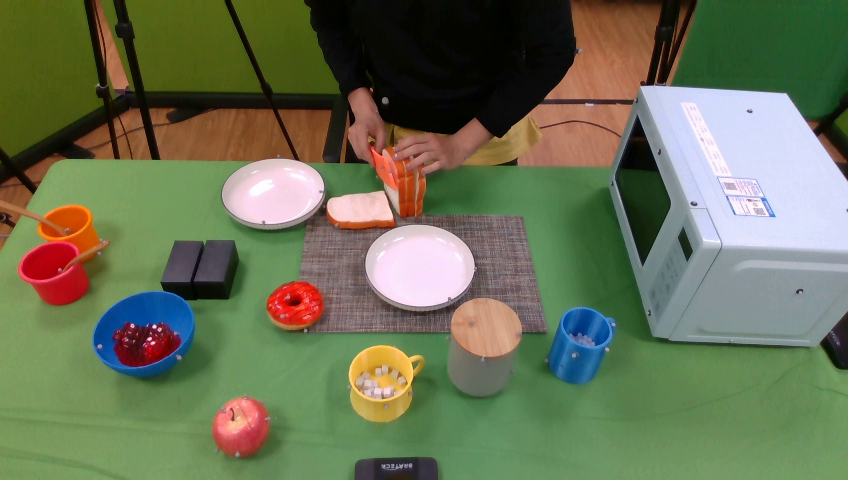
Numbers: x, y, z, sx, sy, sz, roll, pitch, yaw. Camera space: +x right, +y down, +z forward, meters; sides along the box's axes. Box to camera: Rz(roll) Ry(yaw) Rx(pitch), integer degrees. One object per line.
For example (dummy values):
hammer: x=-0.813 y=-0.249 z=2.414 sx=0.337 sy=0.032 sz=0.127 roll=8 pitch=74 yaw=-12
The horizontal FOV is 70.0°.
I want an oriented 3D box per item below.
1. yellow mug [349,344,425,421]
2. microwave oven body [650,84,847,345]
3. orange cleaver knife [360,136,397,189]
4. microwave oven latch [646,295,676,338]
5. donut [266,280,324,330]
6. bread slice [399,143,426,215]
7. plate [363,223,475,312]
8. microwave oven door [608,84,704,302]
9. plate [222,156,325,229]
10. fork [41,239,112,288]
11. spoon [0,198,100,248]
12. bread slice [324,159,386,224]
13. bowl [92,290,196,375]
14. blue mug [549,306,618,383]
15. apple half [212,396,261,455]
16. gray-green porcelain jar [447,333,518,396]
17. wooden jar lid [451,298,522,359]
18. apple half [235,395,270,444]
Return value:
yellow mug: x=-0.054 y=0.217 z=0.954 sx=0.131 sy=0.064 sz=0.099 roll=-24 pitch=52 yaw=-25
microwave oven body: x=0.569 y=-0.054 z=1.116 sx=0.326 sy=0.261 sz=0.439 roll=2 pitch=46 yaw=-1
orange cleaver knife: x=-0.095 y=-0.163 z=1.251 sx=0.012 sy=0.077 sz=0.210 roll=-22 pitch=31 yaw=-11
microwave oven latch: x=0.413 y=0.133 z=1.060 sx=0.030 sy=0.029 sz=0.078 roll=4 pitch=46 yaw=1
donut: x=-0.223 y=0.112 z=1.051 sx=0.099 sy=0.048 sz=0.098 roll=2 pitch=46 yaw=-2
bread slice: x=-0.023 y=-0.131 z=1.242 sx=0.019 sy=0.132 sz=0.104 roll=-13 pitch=48 yaw=-20
plate: x=-0.009 y=0.054 z=1.126 sx=0.208 sy=0.039 sz=0.206 roll=2 pitch=46 yaw=-2
microwave oven door: x=0.424 y=-0.096 z=1.138 sx=0.039 sy=0.245 sz=0.353 roll=3 pitch=46 yaw=-1
plate: x=-0.308 y=-0.095 z=1.251 sx=0.209 sy=0.038 sz=0.208 roll=2 pitch=46 yaw=-2
fork: x=-0.591 y=0.040 z=1.028 sx=0.207 sy=0.019 sz=0.028 roll=-27 pitch=36 yaw=29
spoon: x=-0.684 y=-0.035 z=1.092 sx=0.021 sy=0.195 sz=0.041 roll=-34 pitch=41 yaw=26
bread slice: x=-0.142 y=-0.095 z=1.209 sx=0.134 sy=0.018 sz=0.106 roll=-30 pitch=49 yaw=17
bowl: x=-0.436 y=0.161 z=0.971 sx=0.151 sy=0.077 sz=0.150 roll=2 pitch=46 yaw=-2
blue mug: x=0.269 y=0.167 z=0.997 sx=0.116 sy=0.106 sz=0.082 roll=-19 pitch=50 yaw=-21
apple half: x=-0.276 y=0.276 z=0.877 sx=0.053 sy=0.075 sz=0.080 roll=-29 pitch=58 yaw=-21
gray-green porcelain jar: x=0.091 y=0.178 z=0.960 sx=0.106 sy=0.127 sz=0.105 roll=2 pitch=47 yaw=-2
wooden jar lid: x=0.093 y=0.135 z=0.914 sx=0.108 sy=0.021 sz=0.107 roll=3 pitch=48 yaw=-3
apple half: x=-0.245 y=0.260 z=0.893 sx=0.033 sy=0.082 sz=0.081 roll=-29 pitch=55 yaw=-22
